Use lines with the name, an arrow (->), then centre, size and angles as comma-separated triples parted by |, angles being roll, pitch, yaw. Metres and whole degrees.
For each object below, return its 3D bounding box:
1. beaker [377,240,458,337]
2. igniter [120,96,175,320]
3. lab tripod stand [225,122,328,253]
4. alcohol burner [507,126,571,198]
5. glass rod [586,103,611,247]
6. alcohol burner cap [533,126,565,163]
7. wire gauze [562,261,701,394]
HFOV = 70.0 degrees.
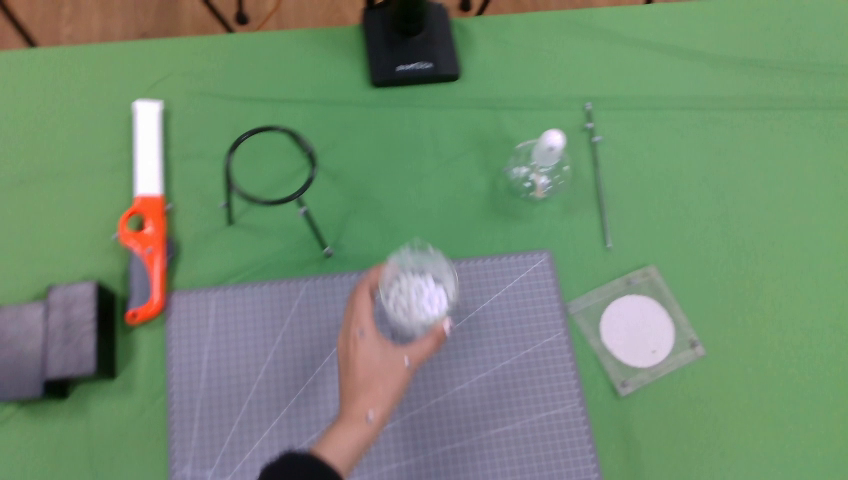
beaker -> -0.009, 0.053, 0.600 | 0.074, 0.101, 0.083 | -2, 73, -4
igniter -> -0.319, -0.043, 0.702 | 0.057, 0.025, 0.274 | 0, 71, -20
lab tripod stand -> -0.157, -0.062, 0.666 | 0.148, 0.132, 0.147 | 1, 70, -3
alcohol burner -> 0.140, -0.097, 0.712 | 0.078, 0.120, 0.077 | 1, 69, -4
glass rod -> 0.221, -0.086, 0.770 | 0.008, 0.008, 0.198 | -1, 72, -5
alcohol burner cap -> 0.143, -0.109, 0.678 | 0.034, 0.048, 0.033 | 1, 76, -2
wire gauze -> 0.245, 0.100, 0.710 | 0.125, 0.011, 0.120 | -24, 75, -9
